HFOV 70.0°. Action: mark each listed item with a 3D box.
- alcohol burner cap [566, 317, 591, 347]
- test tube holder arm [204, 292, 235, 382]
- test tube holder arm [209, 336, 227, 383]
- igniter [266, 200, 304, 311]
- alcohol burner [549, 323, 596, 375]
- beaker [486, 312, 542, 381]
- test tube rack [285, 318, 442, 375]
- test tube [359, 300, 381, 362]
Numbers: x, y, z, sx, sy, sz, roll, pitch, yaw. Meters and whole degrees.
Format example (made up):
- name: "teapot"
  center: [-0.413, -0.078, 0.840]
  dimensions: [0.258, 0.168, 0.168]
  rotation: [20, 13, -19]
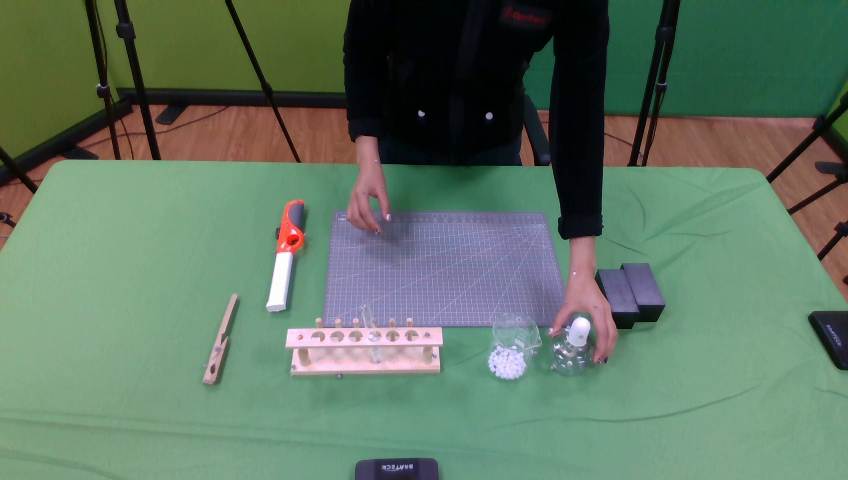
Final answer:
- name: "alcohol burner cap"
  center: [0.247, 0.143, 0.964]
  dimensions: [0.034, 0.048, 0.033]
  rotation: [4, 40, -3]
- name: "test tube holder arm"
  center: [-0.343, 0.159, 1.020]
  dimensions: [0.013, 0.015, 0.177]
  rotation: [27, 39, -27]
- name: "test tube holder arm"
  center: [-0.338, 0.193, 0.991]
  dimensions: [0.010, 0.015, 0.087]
  rotation: [28, 39, -26]
- name: "igniter"
  center: [-0.263, 0.020, 1.156]
  dimensions: [0.057, 0.025, 0.274]
  rotation: [-6, 46, 4]
- name: "alcohol burner"
  center: [0.247, 0.168, 0.990]
  dimensions: [0.078, 0.119, 0.077]
  rotation: [2, 48, -2]
- name: "beaker"
  center: [0.144, 0.177, 0.985]
  dimensions: [0.084, 0.101, 0.074]
  rotation: [22, 49, 16]
- name: "test tube rack"
  center: [-0.095, 0.167, 0.986]
  dimensions: [0.242, 0.085, 0.066]
  rotation: [0, 46, -4]
- name: "test tube"
  center: [-0.083, 0.144, 0.940]
  dimensions: [0.017, 0.151, 0.017]
  rotation: [-3, 46, 3]
